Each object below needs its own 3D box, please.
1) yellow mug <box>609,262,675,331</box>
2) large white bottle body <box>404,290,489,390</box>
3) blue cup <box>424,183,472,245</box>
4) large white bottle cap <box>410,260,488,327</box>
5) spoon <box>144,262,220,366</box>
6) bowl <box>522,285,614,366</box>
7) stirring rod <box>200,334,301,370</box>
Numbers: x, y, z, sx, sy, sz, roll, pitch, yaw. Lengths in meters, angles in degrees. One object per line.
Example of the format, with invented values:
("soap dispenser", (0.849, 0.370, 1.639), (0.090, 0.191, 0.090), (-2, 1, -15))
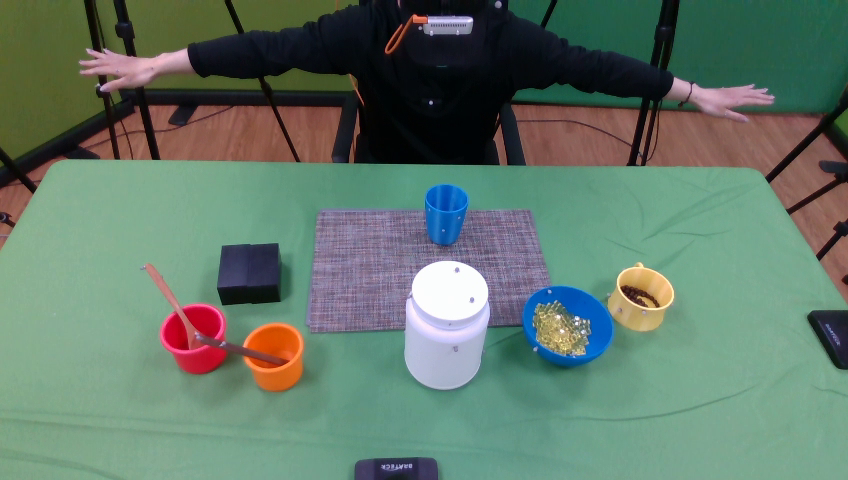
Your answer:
("yellow mug", (0.393, 0.094, 1.103), (0.100, 0.064, 0.130), (7, 45, 3))
("large white bottle body", (0.033, 0.136, 0.955), (0.131, 0.185, 0.130), (2, 46, -2))
("blue cup", (0.040, -0.045, 1.182), (0.093, 0.101, 0.092), (2, 44, -2))
("large white bottle cap", (0.037, 0.077, 0.893), (0.115, 0.018, 0.114), (2, 47, -2))
("spoon", (-0.389, 0.118, 0.971), (0.041, 0.021, 0.194), (-34, 101, -33))
("bowl", (0.235, 0.158, 1.022), (0.151, 0.077, 0.150), (2, 46, -2))
("stirring rod", (-0.262, 0.173, 0.930), (0.177, 0.006, 0.014), (28, 26, -39))
